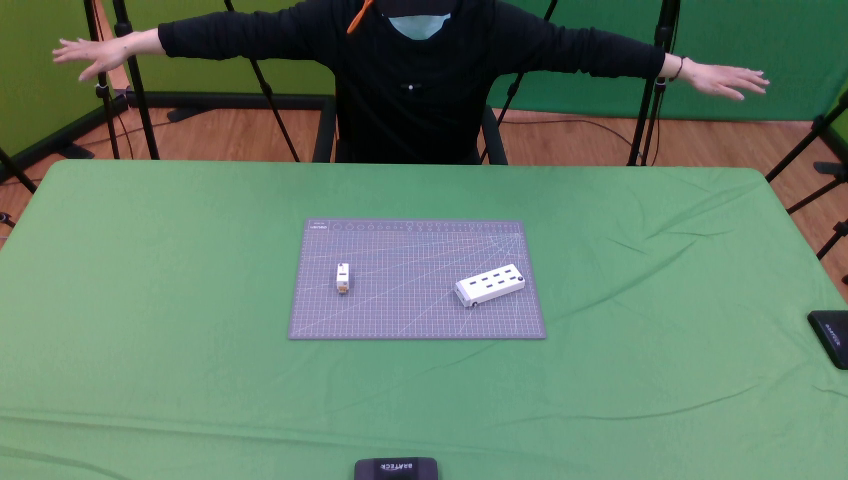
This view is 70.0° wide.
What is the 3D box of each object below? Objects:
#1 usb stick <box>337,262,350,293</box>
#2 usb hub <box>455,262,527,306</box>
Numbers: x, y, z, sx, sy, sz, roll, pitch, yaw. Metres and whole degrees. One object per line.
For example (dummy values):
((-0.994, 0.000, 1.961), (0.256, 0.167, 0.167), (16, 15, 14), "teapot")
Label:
((-0.148, 0.070, 1.109), (0.021, 0.027, 0.059), (1, 49, -5), "usb stick")
((0.124, 0.082, 1.117), (0.125, 0.025, 0.049), (-17, 50, -18), "usb hub")
